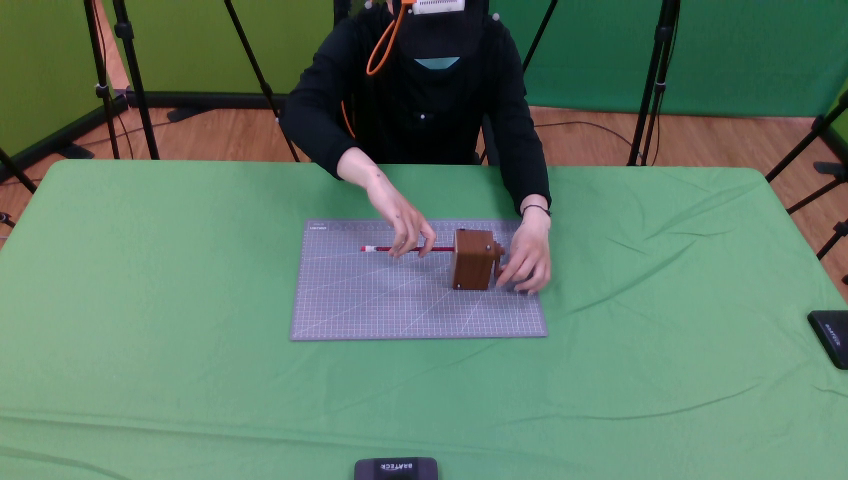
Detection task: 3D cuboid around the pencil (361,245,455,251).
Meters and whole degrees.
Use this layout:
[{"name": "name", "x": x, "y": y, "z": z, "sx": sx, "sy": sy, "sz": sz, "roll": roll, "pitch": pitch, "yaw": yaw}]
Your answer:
[{"name": "pencil", "x": -0.016, "y": 0.014, "z": 1.083, "sx": 0.194, "sy": 0.012, "sz": 0.012, "roll": 0, "pitch": 47, "yaw": 0}]

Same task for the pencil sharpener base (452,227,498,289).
[{"name": "pencil sharpener base", "x": 0.092, "y": 0.035, "z": 1.103, "sx": 0.077, "sy": 0.107, "sz": 0.061, "roll": 2, "pitch": 46, "yaw": -2}]

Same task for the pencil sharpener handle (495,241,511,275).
[{"name": "pencil sharpener handle", "x": 0.144, "y": 0.032, "z": 1.090, "sx": 0.030, "sy": 0.068, "sz": 0.036, "roll": 2, "pitch": 20, "yaw": -2}]
